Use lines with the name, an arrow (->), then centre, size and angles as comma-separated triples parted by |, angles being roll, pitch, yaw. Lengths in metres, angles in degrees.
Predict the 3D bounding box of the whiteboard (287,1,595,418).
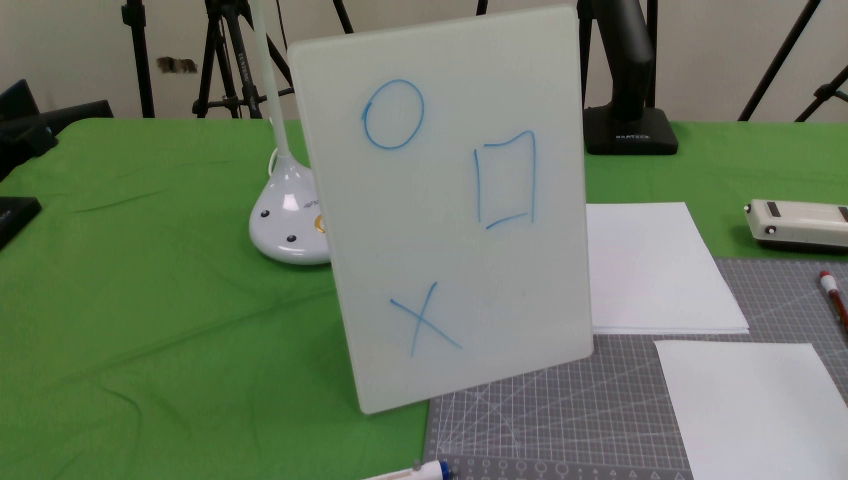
whiteboard -> 0.016, -0.034, 0.542 | 0.217, 0.307, 0.142 | -12, 20, -10

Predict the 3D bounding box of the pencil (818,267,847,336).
pencil -> 0.391, 0.093, 0.548 | 0.012, 0.012, 0.192 | 5, 41, 10

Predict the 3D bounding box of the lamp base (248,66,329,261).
lamp base -> -0.140, -0.094, 0.682 | 0.160, 0.182, 0.177 | -31, 44, -31

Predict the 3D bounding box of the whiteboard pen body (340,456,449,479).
whiteboard pen body -> -0.050, 0.184, 0.452 | 0.141, 0.017, 0.017 | -10, 39, -11

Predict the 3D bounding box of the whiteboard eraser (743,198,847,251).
whiteboard eraser -> 0.415, -0.017, 0.663 | 0.112, 0.042, 0.055 | 6, 40, 11
